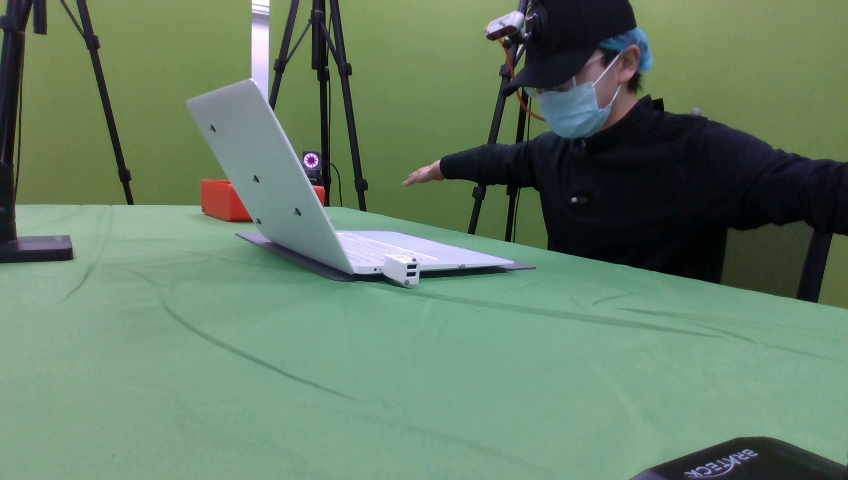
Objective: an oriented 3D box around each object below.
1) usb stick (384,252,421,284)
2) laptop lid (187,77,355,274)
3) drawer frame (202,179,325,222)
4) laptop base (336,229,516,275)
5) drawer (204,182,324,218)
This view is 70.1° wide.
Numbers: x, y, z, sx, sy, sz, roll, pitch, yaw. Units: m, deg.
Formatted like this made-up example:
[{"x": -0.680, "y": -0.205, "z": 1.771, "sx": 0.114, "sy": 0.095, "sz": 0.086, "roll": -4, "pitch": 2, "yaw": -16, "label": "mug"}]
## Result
[{"x": -0.028, "y": 0.029, "z": 0.675, "sx": 0.021, "sy": 0.027, "sz": 0.059, "roll": -3, "pitch": 10, "yaw": -33, "label": "usb stick"}, {"x": -0.211, "y": -0.082, "z": 0.772, "sx": 0.013, "sy": 0.242, "sz": 0.355, "roll": -34, "pitch": 25, "yaw": -23, "label": "laptop lid"}, {"x": -0.361, "y": -0.092, "z": 1.356, "sx": 0.215, "sy": 0.082, "sz": 0.200, "roll": -4, "pitch": 10, "yaw": -37, "label": "drawer frame"}, {"x": -0.066, "y": 0.014, "z": 0.877, "sx": 0.237, "sy": 0.023, "sz": 0.352, "roll": 2, "pitch": 7, "yaw": -32, "label": "laptop base"}, {"x": -0.360, "y": -0.091, "z": 1.358, "sx": 0.213, "sy": 0.073, "sz": 0.193, "roll": -4, "pitch": 10, "yaw": -36, "label": "drawer"}]
